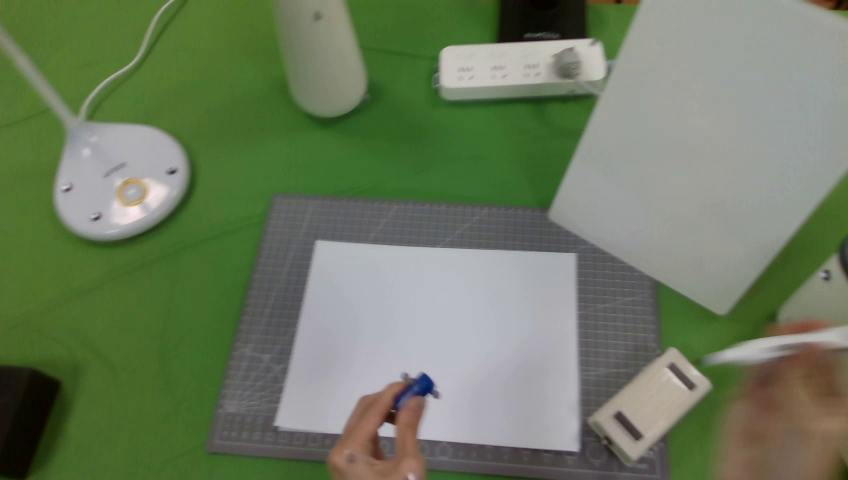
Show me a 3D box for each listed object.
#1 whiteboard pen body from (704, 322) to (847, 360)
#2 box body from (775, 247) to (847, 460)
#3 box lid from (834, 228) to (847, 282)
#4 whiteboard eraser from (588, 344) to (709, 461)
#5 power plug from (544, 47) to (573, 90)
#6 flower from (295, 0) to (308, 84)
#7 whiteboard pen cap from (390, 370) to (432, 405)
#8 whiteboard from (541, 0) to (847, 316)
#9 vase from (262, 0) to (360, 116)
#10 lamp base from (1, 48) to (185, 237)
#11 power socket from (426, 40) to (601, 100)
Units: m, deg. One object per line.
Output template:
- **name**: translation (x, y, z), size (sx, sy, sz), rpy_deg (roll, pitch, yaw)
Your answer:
- **whiteboard pen body**: translation (0.241, 0.058, 0.358), size (0.140, 0.017, 0.017), rpy_deg (-12, 60, 20)
- **box body**: translation (0.508, 0.155, 0.505), size (0.254, 0.161, 0.360), rpy_deg (-13, 63, -4)
- **box lid**: translation (0.504, 0.118, 0.440), size (0.263, 0.015, 0.368), rpy_deg (-14, 63, -3)
- **whiteboard eraser**: translation (0.215, 0.155, 0.584), size (0.112, 0.042, 0.055), rpy_deg (-37, 66, -15)
- **power plug**: translation (0.166, -0.207, 0.752), size (0.035, 0.053, 0.072), rpy_deg (8, 70, 7)
- **flower**: translation (-0.121, -0.267, 0.636), size (0.044, 0.362, 0.038), rpy_deg (-36, 84, -24)
- **whiteboard pen cap**: translation (-0.009, 0.112, 0.462), size (0.033, 0.018, 0.018), rpy_deg (-39, 59, 30)
- **whiteboard**: translation (0.286, -0.112, 0.605), size (0.216, 0.308, 0.143), rpy_deg (33, 48, 18)
- **vase**: translation (-0.136, -0.238, 0.714), size (0.098, 0.201, 0.097), rpy_deg (-2, 62, 4)
- **lamp base**: translation (-0.386, -0.116, 0.674), size (0.178, 0.182, 0.160), rpy_deg (34, 69, 21)
- **power socket**: translation (0.116, -0.222, 0.787), size (0.227, 0.033, 0.071), rpy_deg (-2, 64, 1)
